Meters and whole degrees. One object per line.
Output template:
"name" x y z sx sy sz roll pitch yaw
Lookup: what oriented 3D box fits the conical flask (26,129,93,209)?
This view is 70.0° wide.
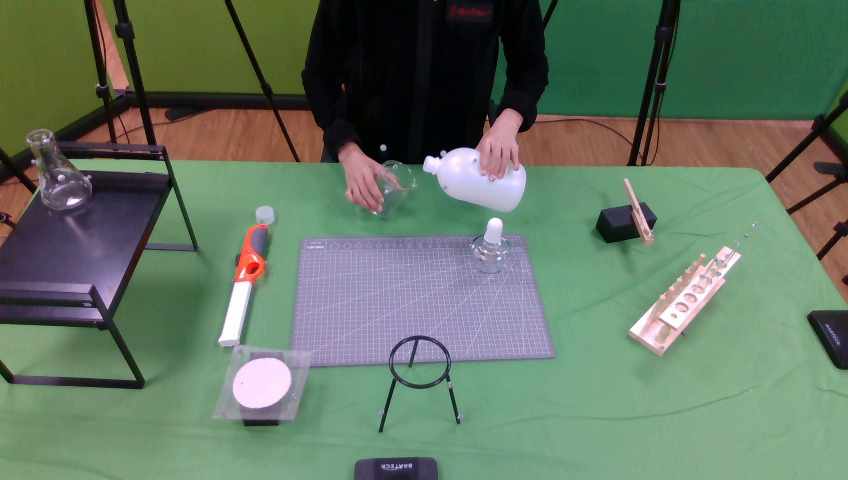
"conical flask" -0.575 -0.113 0.946 0.075 0.122 0.075 2 46 -2

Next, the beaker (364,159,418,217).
"beaker" -0.068 -0.099 1.205 0.084 0.100 0.073 22 46 -17

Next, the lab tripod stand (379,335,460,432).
"lab tripod stand" -0.011 0.214 0.911 0.148 0.132 0.147 1 45 0

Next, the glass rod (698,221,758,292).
"glass rod" 0.527 0.035 1.060 0.008 0.200 0.008 5 49 -6

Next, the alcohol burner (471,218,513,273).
"alcohol burner" 0.128 0.005 1.132 0.078 0.120 0.077 0 47 0

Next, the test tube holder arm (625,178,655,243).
"test tube holder arm" 0.433 -0.062 1.220 0.013 0.015 0.177 1 47 -3

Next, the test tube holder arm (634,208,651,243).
"test tube holder arm" 0.428 -0.030 1.189 0.010 0.015 0.087 1 47 -2

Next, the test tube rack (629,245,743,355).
"test tube rack" 0.474 0.095 1.091 0.242 0.085 0.066 -34 56 -31

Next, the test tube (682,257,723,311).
"test tube" 0.475 0.080 1.037 0.017 0.151 0.017 1 50 -1

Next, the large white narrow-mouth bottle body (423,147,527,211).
"large white narrow-mouth bottle body" 0.093 -0.125 1.165 0.195 0.102 0.101 14 44 -14

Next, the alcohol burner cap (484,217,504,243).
"alcohol burner cap" 0.129 -0.021 1.107 0.034 0.048 0.033 4 41 -4

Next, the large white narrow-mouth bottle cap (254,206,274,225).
"large white narrow-mouth bottle cap" -0.323 -0.049 1.222 0.038 0.024 0.037 2 47 -2

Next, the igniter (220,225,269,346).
"igniter" -0.323 0.072 1.100 0.057 0.025 0.274 -5 46 5

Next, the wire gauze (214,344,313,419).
"wire gauze" -0.241 0.213 0.915 0.121 0.011 0.124 5 46 1
